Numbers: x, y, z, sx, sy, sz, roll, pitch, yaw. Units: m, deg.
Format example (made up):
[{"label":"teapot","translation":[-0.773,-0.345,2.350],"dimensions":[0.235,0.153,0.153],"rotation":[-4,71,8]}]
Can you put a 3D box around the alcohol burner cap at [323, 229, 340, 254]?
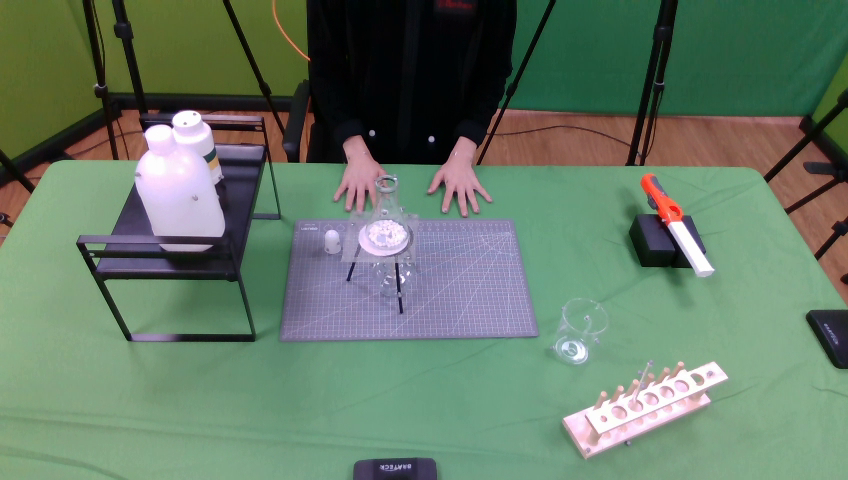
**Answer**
[{"label":"alcohol burner cap","translation":[-0.179,0.001,1.165],"dimensions":[0.034,0.048,0.033],"rotation":[2,45,-2]}]

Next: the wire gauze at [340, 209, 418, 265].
[{"label":"wire gauze","translation":[-0.074,-0.006,1.024],"dimensions":[0.121,0.011,0.124],"rotation":[2,48,1]}]

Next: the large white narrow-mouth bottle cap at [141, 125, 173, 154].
[{"label":"large white narrow-mouth bottle cap","translation":[-0.356,-0.134,0.810],"dimensions":[0.038,0.024,0.037],"rotation":[1,48,-1]}]

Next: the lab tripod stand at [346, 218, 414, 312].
[{"label":"lab tripod stand","translation":[-0.069,0.037,1.075],"dimensions":[0.148,0.132,0.147],"rotation":[1,47,-1]}]

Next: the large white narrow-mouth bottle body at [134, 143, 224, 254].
[{"label":"large white narrow-mouth bottle body","translation":[-0.358,-0.075,0.875],"dimensions":[0.102,0.195,0.101],"rotation":[1,48,-1]}]

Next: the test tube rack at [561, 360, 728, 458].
[{"label":"test tube rack","translation":[0.341,0.248,0.940],"dimensions":[0.243,0.085,0.066],"rotation":[-15,49,-18]}]

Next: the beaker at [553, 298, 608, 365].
[{"label":"beaker","translation":[0.260,0.154,1.015],"dimensions":[0.073,0.101,0.084],"rotation":[37,54,27]}]

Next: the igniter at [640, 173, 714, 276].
[{"label":"igniter","translation":[0.495,-0.039,1.204],"dimensions":[0.057,0.025,0.274],"rotation":[-2,47,-12]}]

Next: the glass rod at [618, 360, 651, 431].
[{"label":"glass rod","translation":[0.298,0.227,0.865],"dimensions":[0.008,0.201,0.008],"rotation":[-1,47,2]}]

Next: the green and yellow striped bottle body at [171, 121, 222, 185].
[{"label":"green and yellow striped bottle body","translation":[-0.375,-0.149,0.995],"dimensions":[0.063,0.120,0.063],"rotation":[2,46,-2]}]

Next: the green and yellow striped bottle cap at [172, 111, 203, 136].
[{"label":"green and yellow striped bottle cap","translation":[-0.374,-0.185,0.958],"dimensions":[0.045,0.020,0.045],"rotation":[3,46,-3]}]

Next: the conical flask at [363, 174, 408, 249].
[{"label":"conical flask","translation":[-0.063,-0.050,0.985],"dimensions":[0.075,0.122,0.075],"rotation":[2,46,-1]}]

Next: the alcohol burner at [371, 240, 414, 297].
[{"label":"alcohol burner","translation":[-0.057,0.046,1.082],"dimensions":[0.078,0.120,0.077],"rotation":[1,46,0]}]
